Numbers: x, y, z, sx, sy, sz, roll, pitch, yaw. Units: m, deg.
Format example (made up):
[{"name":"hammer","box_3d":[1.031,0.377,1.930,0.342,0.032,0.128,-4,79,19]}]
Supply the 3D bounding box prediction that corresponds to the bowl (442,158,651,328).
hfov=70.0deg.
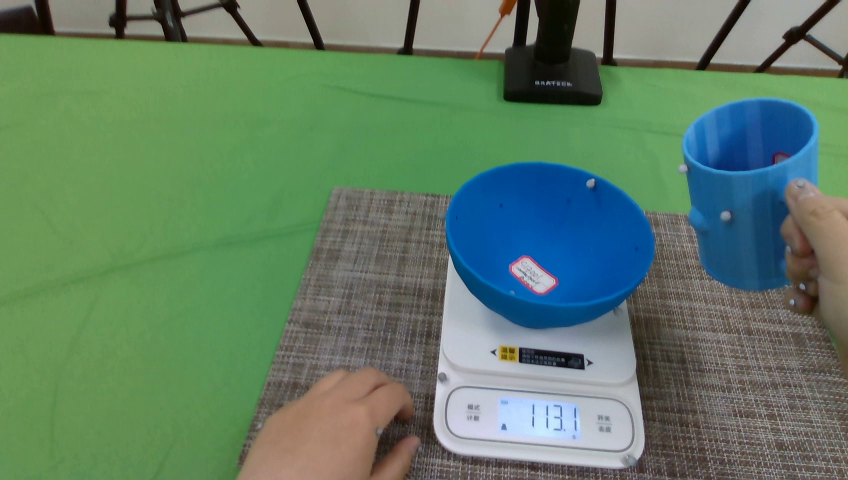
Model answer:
[{"name":"bowl","box_3d":[0.086,0.015,0.462,0.151,0.077,0.150,1,46,-1]}]

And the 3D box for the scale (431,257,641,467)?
[{"name":"scale","box_3d":[0.086,0.074,0.479,0.148,0.032,0.199,4,47,4]}]

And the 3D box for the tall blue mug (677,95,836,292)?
[{"name":"tall blue mug","box_3d":[0.227,-0.024,0.396,0.077,0.109,0.106,-42,40,-16]}]
